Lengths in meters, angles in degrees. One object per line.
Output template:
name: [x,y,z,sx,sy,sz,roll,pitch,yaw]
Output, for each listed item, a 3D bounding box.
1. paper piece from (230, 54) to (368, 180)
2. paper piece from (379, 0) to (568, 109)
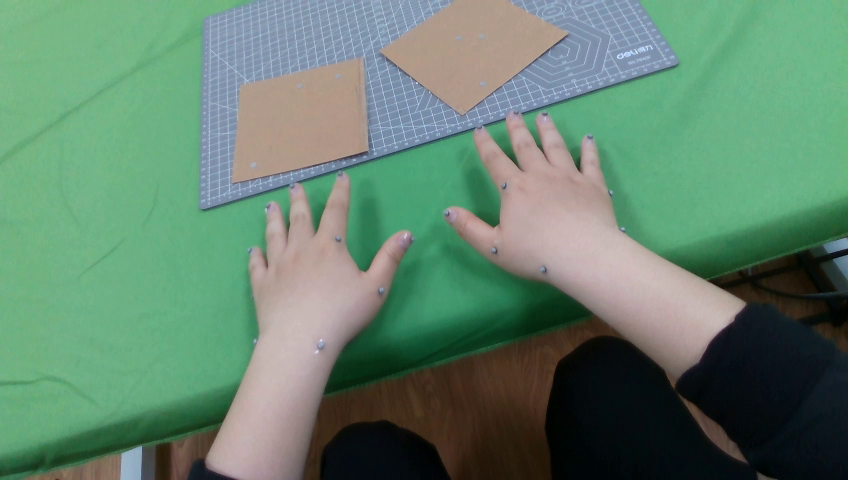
paper piece: [-0.122,-0.125,0.593,0.138,0.009,0.134,-11,53,8]
paper piece: [0.046,-0.198,0.596,0.135,0.004,0.134,-38,57,-11]
